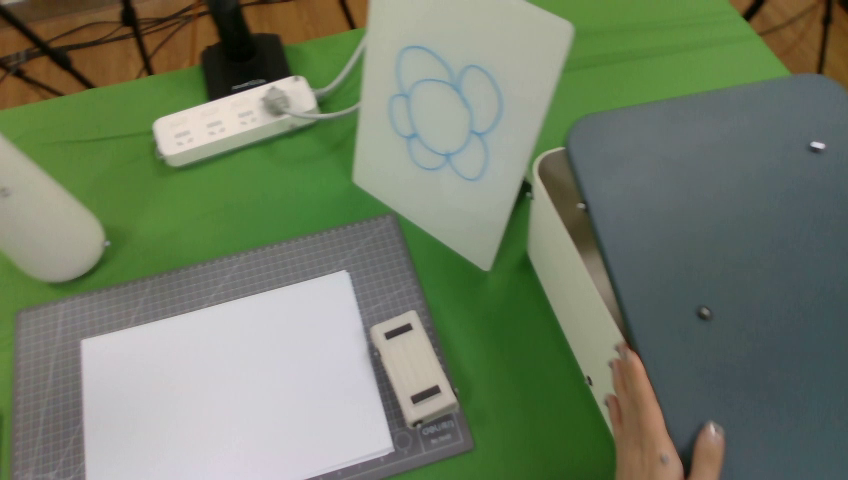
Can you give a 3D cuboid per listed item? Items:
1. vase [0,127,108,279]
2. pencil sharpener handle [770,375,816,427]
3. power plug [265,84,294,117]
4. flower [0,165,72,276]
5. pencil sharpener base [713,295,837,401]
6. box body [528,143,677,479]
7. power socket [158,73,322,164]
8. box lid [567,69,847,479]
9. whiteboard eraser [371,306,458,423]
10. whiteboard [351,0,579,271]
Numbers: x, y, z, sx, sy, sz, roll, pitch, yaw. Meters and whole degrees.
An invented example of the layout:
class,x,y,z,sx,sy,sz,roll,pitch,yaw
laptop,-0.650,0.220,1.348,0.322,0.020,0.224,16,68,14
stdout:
class,x,y,z,sx,sy,sz,roll,pitch,yaw
vase,-0.427,-0.038,0.647,0.098,0.202,0.097,-1,59,2
pencil sharpener handle,0.335,0.148,0.552,0.036,0.068,0.030,-3,59,13
power plug,-0.187,-0.171,0.789,0.035,0.053,0.072,-12,61,-5
flower,-0.428,-0.097,0.586,0.038,0.365,0.043,-26,44,-21
pencil sharpener base,0.336,0.111,0.588,0.061,0.108,0.076,4,60,2
box body,0.278,0.067,0.591,0.254,0.162,0.360,-16,61,-8
power socket,-0.245,-0.164,0.813,0.227,0.033,0.071,-20,62,-11
box lid,0.282,0.025,0.476,0.263,0.015,0.368,-11,65,-1
whiteboard eraser,-0.012,0.128,0.629,0.055,0.042,0.111,-20,61,-12
whiteboard,0.060,-0.158,0.681,0.215,0.307,0.144,35,47,20
